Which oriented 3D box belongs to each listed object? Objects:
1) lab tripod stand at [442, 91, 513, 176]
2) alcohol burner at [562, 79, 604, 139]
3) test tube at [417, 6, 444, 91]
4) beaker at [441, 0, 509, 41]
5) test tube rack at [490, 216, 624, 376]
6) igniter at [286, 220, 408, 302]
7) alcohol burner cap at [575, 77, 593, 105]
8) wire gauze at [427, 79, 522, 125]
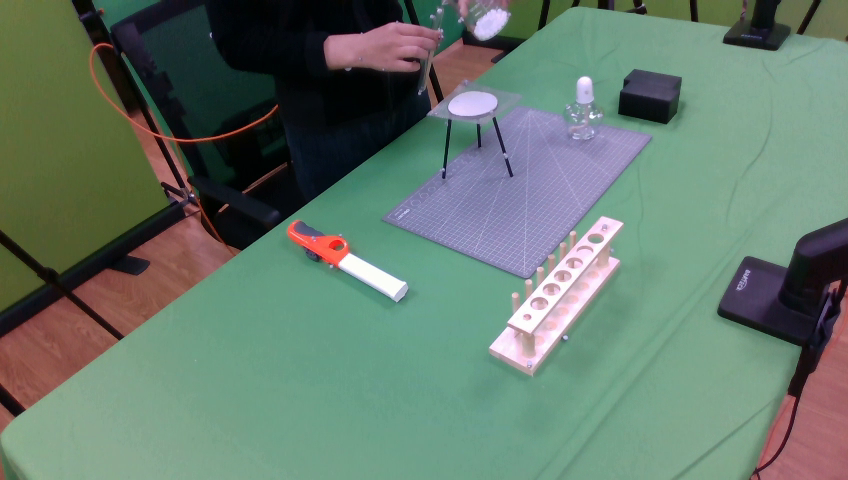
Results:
[{"bbox_3d":[0.096,-0.190,1.096,0.148,0.132,0.147,-4,40,4],"label":"lab tripod stand"},{"bbox_3d":[0.303,-0.253,1.147,0.078,0.119,0.077,-4,41,4],"label":"alcohol burner"},{"bbox_3d":[0.010,-0.329,1.049,0.017,0.150,0.017,11,36,-7],"label":"test tube"},{"bbox_3d":[0.088,-0.393,1.018,0.084,0.101,0.073,-38,35,16],"label":"beaker"},{"bbox_3d":[0.184,0.064,0.822,0.066,0.085,0.243,24,50,33],"label":"test tube rack"},{"bbox_3d":[-0.134,0.028,0.969,0.274,0.025,0.057,26,61,35],"label":"igniter"},{"bbox_3d":[0.297,-0.279,1.124,0.034,0.048,0.033,-8,41,8],"label":"alcohol burner cap"},{"bbox_3d":[0.088,-0.239,1.050,0.120,0.011,0.125,22,49,30],"label":"wire gauze"}]
